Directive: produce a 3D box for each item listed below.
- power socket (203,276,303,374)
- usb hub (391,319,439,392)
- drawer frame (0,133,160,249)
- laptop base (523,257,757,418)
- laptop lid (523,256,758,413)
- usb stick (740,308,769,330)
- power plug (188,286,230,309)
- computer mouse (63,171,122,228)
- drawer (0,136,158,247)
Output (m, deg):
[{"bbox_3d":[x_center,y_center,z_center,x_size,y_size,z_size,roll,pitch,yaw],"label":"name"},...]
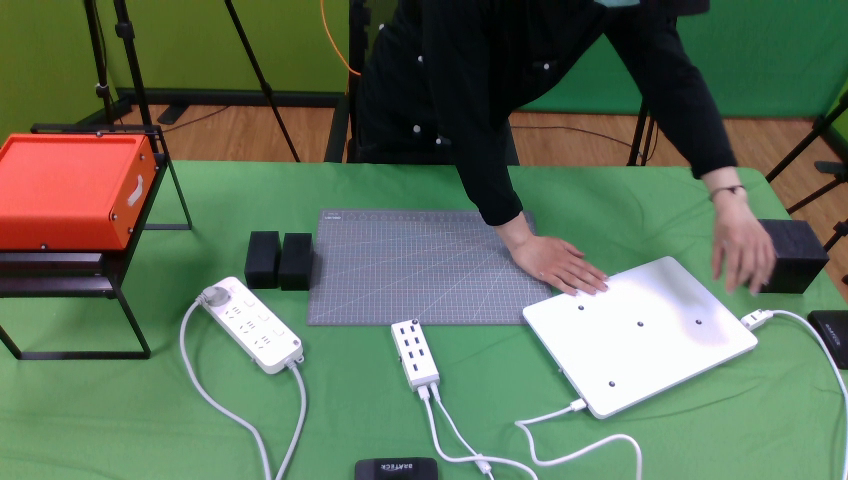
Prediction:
[{"bbox_3d":[-0.296,0.141,1.034,0.225,0.033,0.072,37,55,27],"label":"power socket"},{"bbox_3d":[-0.015,0.190,1.013,0.049,0.025,0.124,-11,48,-15],"label":"usb hub"},{"bbox_3d":[-0.553,-0.078,0.942,0.214,0.083,0.200,-1,47,-4],"label":"drawer frame"},{"bbox_3d":[0.380,0.160,1.078,0.355,0.023,0.234,-17,47,-20],"label":"laptop base"},{"bbox_3d":[0.380,0.150,1.071,0.357,0.013,0.240,-16,47,-19],"label":"laptop lid"},{"bbox_3d":[0.587,0.146,1.087,0.059,0.027,0.021,-23,51,-15],"label":"usb stick"},{"bbox_3d":[-0.369,0.103,1.039,0.072,0.053,0.035,-26,54,-23],"label":"power plug"},{"bbox_3d":[-0.522,-0.067,0.955,0.063,0.041,0.116,1,49,-9],"label":"computer mouse"},{"bbox_3d":[-0.549,-0.080,0.943,0.212,0.073,0.193,1,47,-4],"label":"drawer"}]
